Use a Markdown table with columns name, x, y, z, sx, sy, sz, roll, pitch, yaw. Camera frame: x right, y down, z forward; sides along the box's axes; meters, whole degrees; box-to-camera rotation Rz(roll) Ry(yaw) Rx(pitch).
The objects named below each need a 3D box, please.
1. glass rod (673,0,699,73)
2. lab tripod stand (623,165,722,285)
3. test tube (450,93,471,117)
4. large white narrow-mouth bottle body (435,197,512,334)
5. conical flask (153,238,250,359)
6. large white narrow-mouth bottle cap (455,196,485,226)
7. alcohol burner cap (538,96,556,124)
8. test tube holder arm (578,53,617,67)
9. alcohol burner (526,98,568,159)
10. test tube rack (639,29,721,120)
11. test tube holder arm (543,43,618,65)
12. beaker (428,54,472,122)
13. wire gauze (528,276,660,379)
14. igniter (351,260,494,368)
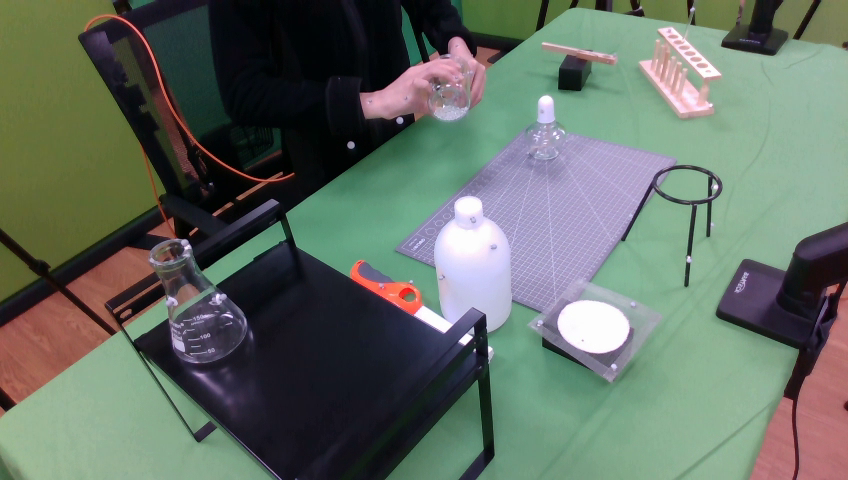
| name | x | y | z | sx | sy | sz | roll | pitch | yaw |
| --- | --- | --- | --- | --- | --- | --- | --- | --- | --- |
| glass rod | 0.538 | -0.425 | 1.245 | 0.008 | 0.200 | 0.008 | 0 | 47 | 0 |
| lab tripod stand | 0.365 | -0.030 | 0.875 | 0.148 | 0.132 | 0.147 | -6 | 41 | 6 |
| test tube | 0.068 | -0.248 | 1.119 | 0.017 | 0.017 | 0.151 | 3 | 1 | 13 |
| large white narrow-mouth bottle body | 0.066 | 0.028 | 0.805 | 0.102 | 0.195 | 0.101 | -4 | 40 | 4 |
| conical flask | -0.225 | 0.055 | 0.597 | 0.075 | 0.122 | 0.075 | -5 | 41 | 4 |
| large white narrow-mouth bottle cap | 0.057 | -0.037 | 0.749 | 0.038 | 0.024 | 0.037 | -4 | 40 | 4 |
| alcohol burner cap | 0.222 | -0.237 | 1.095 | 0.034 | 0.048 | 0.033 | -7 | 35 | 5 |
| test tube holder arm | 0.376 | -0.393 | 1.314 | 0.087 | 0.015 | 0.010 | 26 | 51 | 32 |
| alcohol burner | 0.228 | -0.210 | 1.118 | 0.078 | 0.119 | 0.077 | -5 | 43 | 5 |
| test tube rack | 0.527 | -0.351 | 1.262 | 0.067 | 0.085 | 0.241 | -8 | 40 | 1 |
| test tube holder arm | 0.344 | -0.413 | 1.340 | 0.177 | 0.015 | 0.013 | 25 | 50 | 31 |
| beaker | 0.043 | -0.243 | 0.988 | 0.074 | 0.084 | 0.100 | -4 | 41 | 7 |
| wire gauze | 0.213 | 0.103 | 0.763 | 0.124 | 0.011 | 0.122 | 30 | 52 | 35 |
| igniter | -0.013 | 0.098 | 0.864 | 0.274 | 0.025 | 0.057 | 30 | 65 | 36 |
